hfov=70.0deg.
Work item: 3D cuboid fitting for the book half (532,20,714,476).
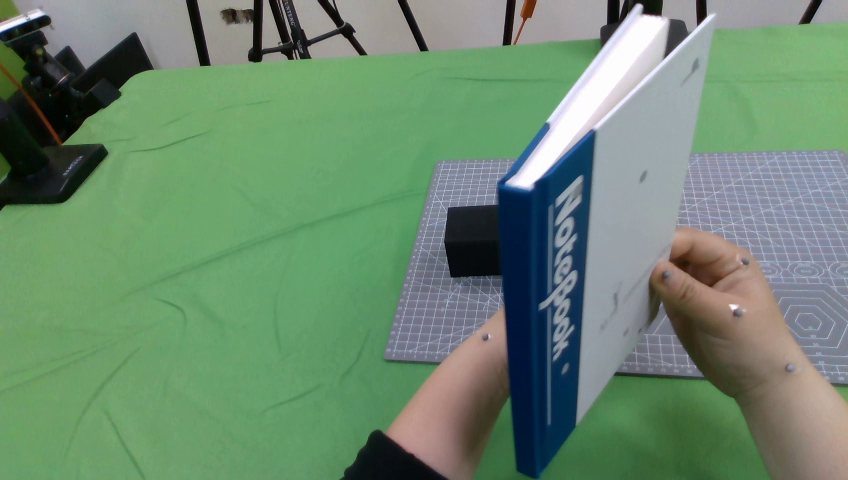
[{"bbox_3d":[0.097,0.018,0.308,0.007,0.212,0.143,27,54,34],"label":"book half"}]

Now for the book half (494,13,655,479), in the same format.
[{"bbox_3d":[0.081,0.015,0.316,0.016,0.212,0.148,18,50,28],"label":"book half"}]
